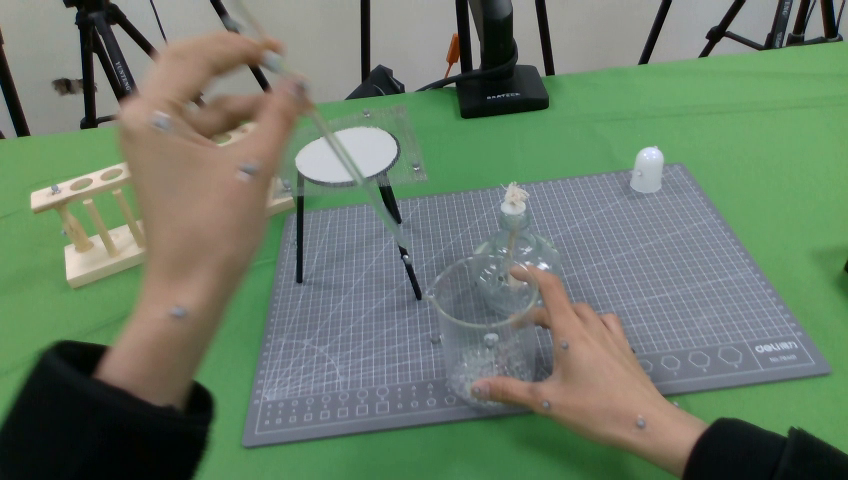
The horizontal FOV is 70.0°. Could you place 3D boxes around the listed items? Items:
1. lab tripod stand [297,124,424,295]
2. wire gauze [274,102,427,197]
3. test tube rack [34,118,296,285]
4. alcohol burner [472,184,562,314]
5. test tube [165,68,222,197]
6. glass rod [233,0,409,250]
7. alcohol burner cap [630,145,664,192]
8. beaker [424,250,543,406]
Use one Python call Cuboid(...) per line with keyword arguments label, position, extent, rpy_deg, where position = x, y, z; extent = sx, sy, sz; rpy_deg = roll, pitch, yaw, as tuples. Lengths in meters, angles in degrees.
Cuboid(label="lab tripod stand", position=(-0.059, -0.027, 0.558), extent=(0.148, 0.133, 0.147), rpy_deg=(-5, 42, 5))
Cuboid(label="wire gauze", position=(-0.067, -0.078, 0.515), extent=(0.125, 0.011, 0.120), rpy_deg=(-11, 40, -3))
Cuboid(label="test tube rack", position=(-0.273, -0.046, 0.658), extent=(0.243, 0.086, 0.066), rpy_deg=(-23, 42, -17))
Cuboid(label="alcohol burner", position=(0.078, 0.005, 0.514), extent=(0.078, 0.120, 0.077), rpy_deg=(-5, 38, 4))
Cuboid(label="test tube", position=(-0.247, -0.111, 0.654), extent=(0.017, 0.151, 0.017), rpy_deg=(-4, 37, 3))
Cuboid(label="glass rod", position=(-0.050, -0.055, 0.323), extent=(0.008, 0.202, 0.008), rpy_deg=(-14, 48, 17))
Cuboid(label="alcohol burner cap", position=(0.238, -0.079, 0.644), extent=(0.034, 0.048, 0.033), rpy_deg=(-4, 40, 4))
Cuboid(label="beaker", position=(0.046, 0.069, 0.453), extent=(0.084, 0.101, 0.073), rpy_deg=(-1, 40, 9))
